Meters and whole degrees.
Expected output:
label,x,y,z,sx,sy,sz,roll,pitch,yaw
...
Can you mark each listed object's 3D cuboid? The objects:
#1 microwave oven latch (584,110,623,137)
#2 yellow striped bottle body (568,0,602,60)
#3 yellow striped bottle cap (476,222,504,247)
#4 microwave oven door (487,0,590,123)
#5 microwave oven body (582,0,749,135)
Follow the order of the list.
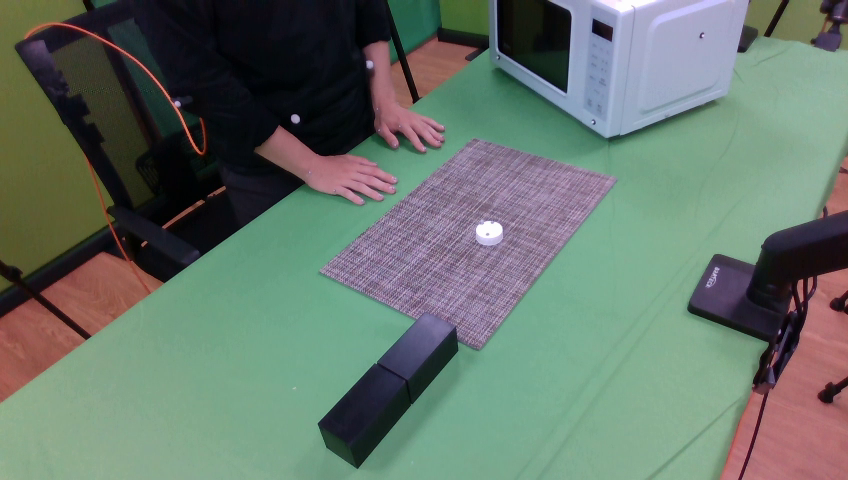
label,x,y,z,sx,sy,sz,roll,pitch,yaw
microwave oven latch,0.337,-0.222,1.142,0.030,0.029,0.078,-21,42,-15
yellow striped bottle body,0.338,-0.448,1.268,0.063,0.121,0.062,-4,43,4
yellow striped bottle cap,0.105,-0.010,0.966,0.044,0.019,0.044,-3,39,3
microwave oven door,0.231,-0.420,1.230,0.039,0.245,0.352,-22,43,-16
microwave oven body,0.382,-0.444,1.246,0.327,0.261,0.437,-22,42,-16
